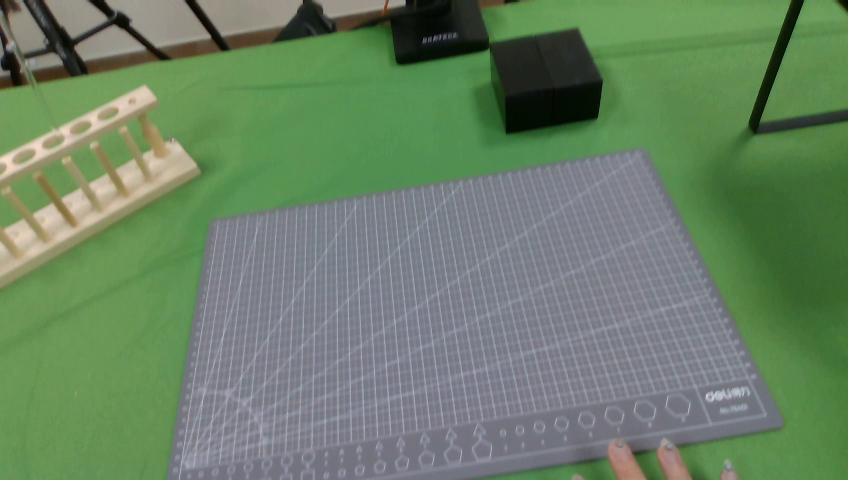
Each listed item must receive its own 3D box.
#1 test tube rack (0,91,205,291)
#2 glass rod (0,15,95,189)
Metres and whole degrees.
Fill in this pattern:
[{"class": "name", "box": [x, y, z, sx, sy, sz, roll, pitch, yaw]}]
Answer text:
[{"class": "test tube rack", "box": [-0.363, -0.051, 0.622, 0.242, 0.086, 0.066, -34, 54, -19]}, {"class": "glass rod", "box": [-0.362, -0.119, 0.592, 0.008, 0.201, 0.008, -2, 41, 2]}]
